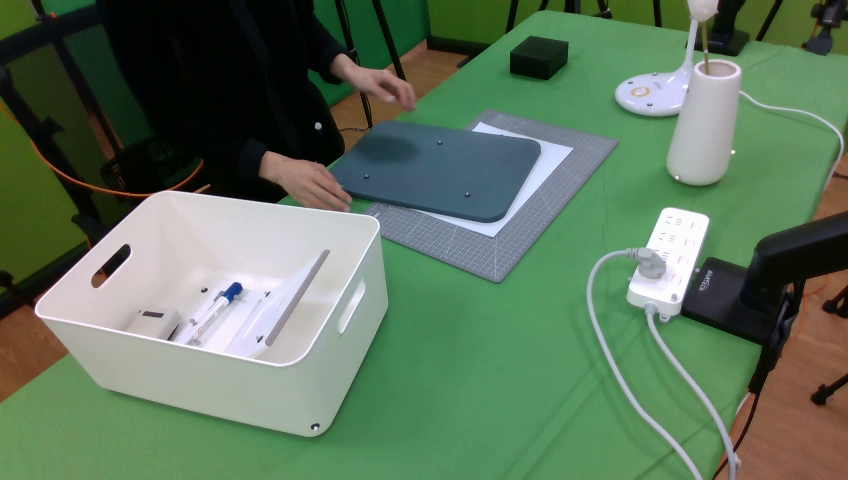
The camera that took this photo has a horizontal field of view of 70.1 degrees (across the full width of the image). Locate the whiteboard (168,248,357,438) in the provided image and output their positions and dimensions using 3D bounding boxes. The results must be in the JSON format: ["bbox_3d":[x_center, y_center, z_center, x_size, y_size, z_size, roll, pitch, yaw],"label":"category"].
[{"bbox_3d":[-0.242,0.100,0.799,0.304,0.144,0.217,8,44,15],"label":"whiteboard"}]

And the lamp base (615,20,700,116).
[{"bbox_3d":[0.484,-0.364,1.211,0.180,0.181,0.159,-15,41,-14],"label":"lamp base"}]

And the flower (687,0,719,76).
[{"bbox_3d":[0.436,-0.242,0.934,0.038,0.364,0.043,-24,49,9],"label":"flower"}]

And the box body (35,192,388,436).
[{"bbox_3d":[-0.251,0.088,0.799,0.362,0.161,0.254,7,42,16],"label":"box body"}]

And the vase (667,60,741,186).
[{"bbox_3d":[0.463,-0.189,0.994,0.098,0.201,0.097,-4,40,4],"label":"vase"}]

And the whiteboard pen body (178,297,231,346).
[{"bbox_3d":[-0.300,0.113,0.832,0.017,0.017,0.141,11,40,20],"label":"whiteboard pen body"}]

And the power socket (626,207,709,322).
[{"bbox_3d":[0.360,0.026,0.886,0.072,0.033,0.227,17,46,27],"label":"power socket"}]

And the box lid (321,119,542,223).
[{"bbox_3d":[0.017,-0.141,1.145,0.369,0.015,0.263,12,44,22],"label":"box lid"}]

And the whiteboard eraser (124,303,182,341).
[{"bbox_3d":[-0.384,0.139,0.828,0.055,0.042,0.112,9,41,8],"label":"whiteboard eraser"}]

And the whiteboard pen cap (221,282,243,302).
[{"bbox_3d":[-0.278,0.078,0.874,0.018,0.018,0.033,11,41,20],"label":"whiteboard pen cap"}]

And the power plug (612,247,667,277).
[{"bbox_3d":[0.306,0.031,0.852,0.072,0.053,0.035,21,48,37],"label":"power plug"}]
